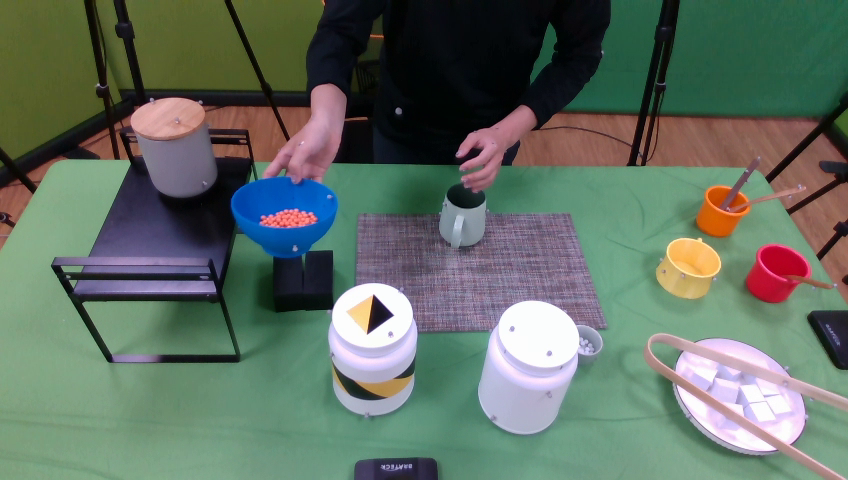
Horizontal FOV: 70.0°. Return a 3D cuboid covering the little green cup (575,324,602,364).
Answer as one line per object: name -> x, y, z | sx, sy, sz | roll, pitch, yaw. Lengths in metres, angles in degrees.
little green cup -> 0.269, 0.179, 1.035 | 0.061, 0.039, 0.061 | 2, 45, -2

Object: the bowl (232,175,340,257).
bowl -> -0.203, -0.027, 0.896 | 0.151, 0.077, 0.150 | 5, 33, -3

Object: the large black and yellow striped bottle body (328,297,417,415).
large black and yellow striped bottle body -> -0.078, 0.167, 0.920 | 0.131, 0.185, 0.130 | 2, 46, -2

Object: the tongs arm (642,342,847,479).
tongs arm -> 0.504, 0.279, 0.918 | 0.386, 0.028, 0.028 | 33, 59, 22

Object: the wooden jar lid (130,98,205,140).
wooden jar lid -> -0.393, -0.183, 0.934 | 0.108, 0.021, 0.107 | 3, 43, -2

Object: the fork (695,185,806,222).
fork -> 0.658, -0.074, 1.230 | 0.207, 0.019, 0.028 | -23, 36, 37

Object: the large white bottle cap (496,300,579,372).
large white bottle cap -> 0.160, 0.133, 0.852 | 0.115, 0.018, 0.114 | 3, 46, -3

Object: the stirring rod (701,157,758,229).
stirring rod -> 0.634, -0.097, 1.257 | 0.014, 0.006, 0.176 | 38, 97, 30

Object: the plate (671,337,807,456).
plate -> 0.503, 0.254, 0.984 | 0.208, 0.039, 0.206 | 2, 46, -2

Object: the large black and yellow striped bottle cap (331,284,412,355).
large black and yellow striped bottle cap -> -0.073, 0.110, 0.858 | 0.115, 0.019, 0.114 | 2, 46, -2

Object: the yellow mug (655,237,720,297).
yellow mug -> 0.509, 0.041, 1.167 | 0.099, 0.064, 0.130 | 24, 48, 18

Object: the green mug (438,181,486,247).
green mug -> 0.071, -0.039, 1.177 | 0.092, 0.105, 0.124 | 12, 47, 7

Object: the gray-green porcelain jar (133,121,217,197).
gray-green porcelain jar -> -0.397, -0.141, 0.979 | 0.106, 0.127, 0.105 | 2, 47, -2

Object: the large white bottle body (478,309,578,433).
large white bottle body -> 0.156, 0.192, 0.913 | 0.131, 0.185, 0.130 | 2, 46, -2

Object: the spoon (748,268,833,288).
spoon -> 0.660, 0.068, 1.097 | 0.041, 0.193, 0.021 | -4, 91, -6

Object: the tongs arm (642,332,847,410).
tongs arm -> 0.546, 0.228, 0.968 | 0.384, 0.026, 0.050 | 22, 52, 13
